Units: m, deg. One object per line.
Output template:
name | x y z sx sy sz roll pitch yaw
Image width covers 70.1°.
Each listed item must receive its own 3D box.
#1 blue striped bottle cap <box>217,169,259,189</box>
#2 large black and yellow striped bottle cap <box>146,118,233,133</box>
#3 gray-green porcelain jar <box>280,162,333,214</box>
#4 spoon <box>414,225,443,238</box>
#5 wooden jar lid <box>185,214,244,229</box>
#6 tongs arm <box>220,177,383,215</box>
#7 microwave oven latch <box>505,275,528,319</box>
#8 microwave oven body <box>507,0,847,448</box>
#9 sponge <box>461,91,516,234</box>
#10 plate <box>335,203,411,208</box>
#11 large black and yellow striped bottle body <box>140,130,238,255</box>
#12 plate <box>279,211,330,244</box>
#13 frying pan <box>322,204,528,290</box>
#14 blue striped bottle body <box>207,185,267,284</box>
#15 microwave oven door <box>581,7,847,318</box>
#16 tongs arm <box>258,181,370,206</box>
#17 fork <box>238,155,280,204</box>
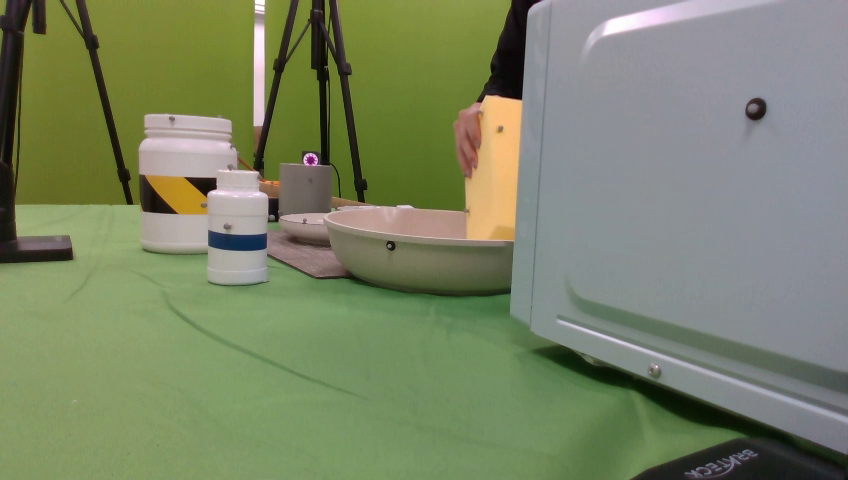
blue striped bottle cap | -0.202 -0.067 0.656 0.044 0.020 0.044 0 10 0
large black and yellow striped bottle cap | -0.333 -0.163 0.861 0.115 0.019 0.115 1 9 0
gray-green porcelain jar | -0.238 -0.092 1.221 0.106 0.126 0.106 2 7 0
spoon | 0.016 -0.020 1.113 0.041 0.021 0.194 -14 3 12
wooden jar lid | -0.404 -0.037 1.169 0.108 0.020 0.108 3 7 0
tongs arm | -0.285 -0.103 1.445 0.389 0.027 0.028 9 -4 -23
microwave oven latch | 0.100 0.042 0.471 0.079 0.029 0.030 -1 7 -29
microwave oven body | 0.331 -0.042 0.425 0.444 0.260 0.324 -2 8 -31
sponge | 0.099 -0.080 0.808 0.061 0.206 0.118 5 -30 -12
plate | -0.089 -0.053 1.309 0.208 0.039 0.207 2 8 0
large black and yellow striped bottle body | -0.336 -0.078 0.871 0.131 0.184 0.130 2 8 0
plate | -0.139 -0.022 1.021 0.209 0.038 0.209 2 8 0
frying pan | 0.109 -0.017 0.800 0.490 0.102 0.305 -12 16 -30
blue striped bottle body | -0.204 -0.016 0.663 0.063 0.120 0.063 2 7 0
microwave oven door | 0.295 -0.067 0.569 0.358 0.243 0.039 -3 8 -31
tongs arm | -0.241 -0.095 1.373 0.387 0.026 0.050 9 -1 -37
fork | -0.396 -0.143 1.486 0.028 0.018 0.208 19 -26 44
